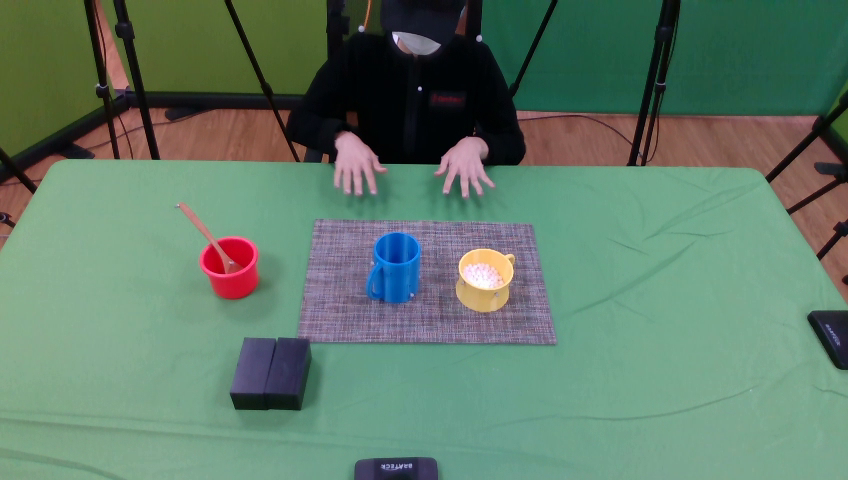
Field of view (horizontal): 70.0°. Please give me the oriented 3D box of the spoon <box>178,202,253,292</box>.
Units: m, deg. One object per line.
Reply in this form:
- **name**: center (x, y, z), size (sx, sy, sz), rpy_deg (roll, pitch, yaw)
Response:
- **spoon**: center (-0.370, 0.012, 1.074), size (0.041, 0.021, 0.194), rpy_deg (-41, 105, -31)

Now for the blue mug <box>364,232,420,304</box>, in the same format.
- **blue mug**: center (-0.062, 0.059, 1.074), size (0.082, 0.106, 0.116), rpy_deg (35, 53, 27)

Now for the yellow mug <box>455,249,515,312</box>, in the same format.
- **yellow mug**: center (0.120, 0.066, 1.108), size (0.131, 0.064, 0.099), rpy_deg (-31, 55, -31)
